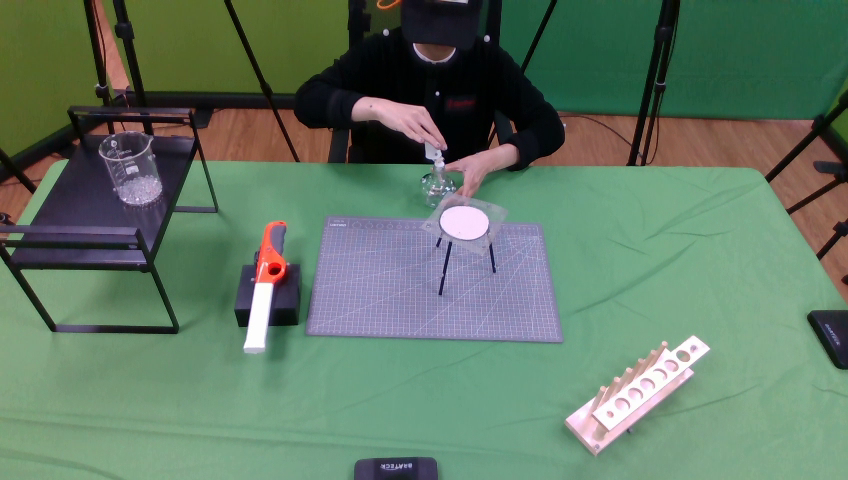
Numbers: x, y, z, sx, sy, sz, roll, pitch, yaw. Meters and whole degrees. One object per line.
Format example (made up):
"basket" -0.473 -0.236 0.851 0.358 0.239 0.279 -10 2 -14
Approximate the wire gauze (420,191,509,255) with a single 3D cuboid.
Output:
"wire gauze" 0.072 -0.035 1.058 0.125 0.011 0.121 21 48 18

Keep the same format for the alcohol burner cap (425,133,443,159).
"alcohol burner cap" 0.019 -0.183 1.175 0.034 0.048 0.033 -6 38 5

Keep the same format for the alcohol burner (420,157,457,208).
"alcohol burner" 0.032 -0.125 1.254 0.078 0.119 0.077 3 45 -3

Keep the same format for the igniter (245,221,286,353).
"igniter" -0.271 0.070 1.040 0.057 0.025 0.274 2 48 -6

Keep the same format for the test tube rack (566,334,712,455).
"test tube rack" 0.338 0.228 0.951 0.242 0.085 0.066 -26 52 -26

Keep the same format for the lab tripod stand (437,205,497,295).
"lab tripod stand" 0.066 0.010 1.107 0.148 0.132 0.147 0 46 0

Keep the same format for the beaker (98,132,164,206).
"beaker" -0.460 -0.112 0.968 0.073 0.101 0.084 37 54 28
